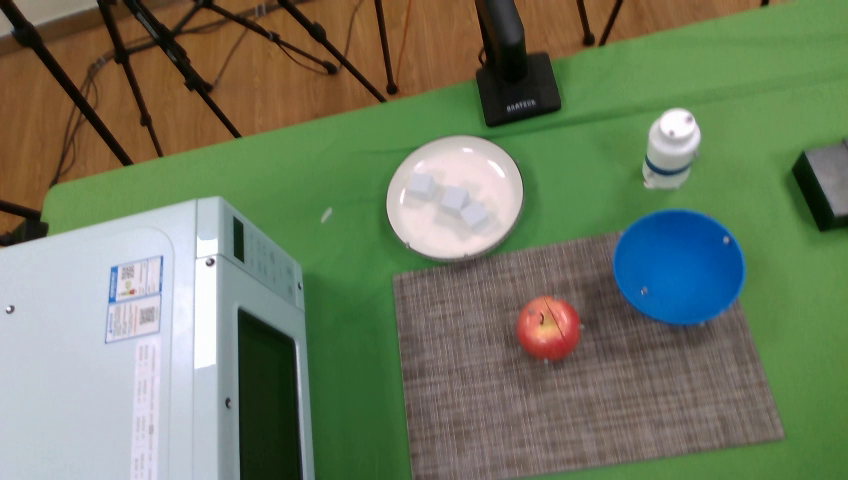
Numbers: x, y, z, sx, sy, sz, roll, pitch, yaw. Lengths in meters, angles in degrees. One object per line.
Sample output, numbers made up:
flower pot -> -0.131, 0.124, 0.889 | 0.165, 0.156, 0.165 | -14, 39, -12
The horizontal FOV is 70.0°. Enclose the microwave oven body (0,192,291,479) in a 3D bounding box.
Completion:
microwave oven body -> -0.340, 0.218, 0.744 | 0.326, 0.262, 0.438 | -13, 66, 7

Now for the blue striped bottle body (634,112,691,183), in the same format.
blue striped bottle body -> 0.320, -0.131, 0.813 | 0.063, 0.122, 0.062 | -5, 67, 11

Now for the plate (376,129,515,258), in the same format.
plate -> 0.033, -0.067, 0.901 | 0.207, 0.039, 0.206 | -4, 68, 11

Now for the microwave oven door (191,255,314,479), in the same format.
microwave oven door -> -0.193, 0.220, 0.704 | 0.039, 0.246, 0.352 | -14, 66, 8

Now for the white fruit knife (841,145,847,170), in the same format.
white fruit knife -> 0.551, -0.022, 0.743 | 0.016, 0.027, 0.206 | -14, 76, 7

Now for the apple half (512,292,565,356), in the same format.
apple half -> 0.141, 0.114, 0.778 | 0.053, 0.075, 0.080 | -28, 67, 7

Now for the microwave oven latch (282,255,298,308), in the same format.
microwave oven latch -> -0.203, 0.062, 0.883 | 0.030, 0.030, 0.078 | -13, 67, 7

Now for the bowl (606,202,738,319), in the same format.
bowl -> 0.307, 0.035, 0.767 | 0.151, 0.077, 0.150 | -5, 67, 12

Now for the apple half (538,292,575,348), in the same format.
apple half -> 0.175, 0.098, 0.775 | 0.033, 0.082, 0.080 | -27, 64, 5

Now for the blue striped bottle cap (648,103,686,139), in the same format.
blue striped bottle cap -> 0.308, -0.151, 0.767 | 0.044, 0.021, 0.044 | -4, 66, 10
